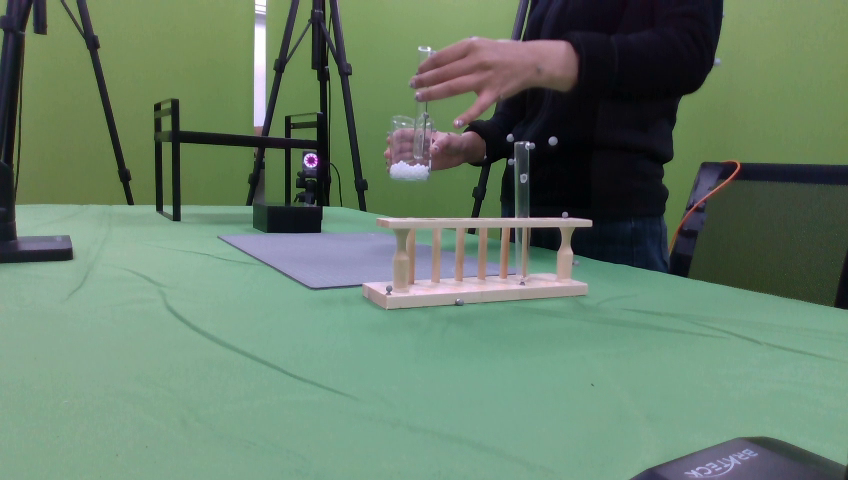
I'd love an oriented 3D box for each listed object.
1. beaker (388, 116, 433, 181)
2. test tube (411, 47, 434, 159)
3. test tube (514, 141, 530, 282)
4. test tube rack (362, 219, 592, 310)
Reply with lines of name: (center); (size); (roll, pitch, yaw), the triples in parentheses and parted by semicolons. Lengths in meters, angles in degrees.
beaker: (-0.023, -0.150, 0.997); (0.074, 0.100, 0.084); (2, 2, -5)
test tube: (-0.003, -0.173, 0.779); (0.017, 0.150, 0.017); (5, 33, -3)
test tube: (0.103, -0.029, 0.636); (0.017, 0.150, 0.017); (-2, 12, 1)
test tube rack: (0.060, 0.019, 0.640); (0.243, 0.085, 0.066); (-1, 8, -27)
